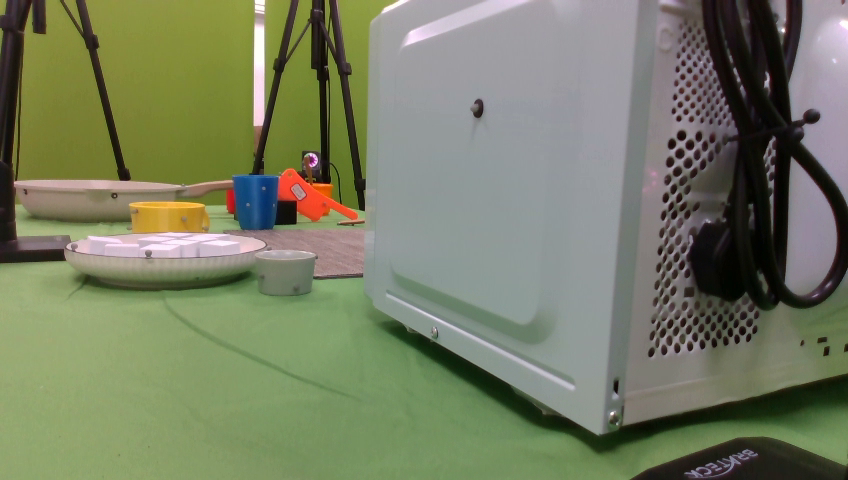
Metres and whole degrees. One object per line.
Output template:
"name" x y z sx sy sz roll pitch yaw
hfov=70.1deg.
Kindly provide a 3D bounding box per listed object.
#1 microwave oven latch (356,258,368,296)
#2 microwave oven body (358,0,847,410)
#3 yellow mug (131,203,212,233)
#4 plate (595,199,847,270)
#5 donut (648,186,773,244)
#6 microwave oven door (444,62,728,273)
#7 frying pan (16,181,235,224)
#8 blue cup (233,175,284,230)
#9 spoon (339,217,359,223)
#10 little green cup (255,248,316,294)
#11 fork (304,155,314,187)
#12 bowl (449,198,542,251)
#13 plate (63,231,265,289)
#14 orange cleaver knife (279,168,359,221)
"microwave oven latch" -0.019 0.031 0.528 0.079 0.029 0.030 -1 7 -24
"microwave oven body" 0.210 -0.051 0.471 0.444 0.260 0.324 -1 7 -28
"yellow mug" -0.356 -0.020 0.878 0.099 0.064 0.131 4 7 22
"plate" 0.250 -0.006 0.507 0.209 0.038 0.209 5 7 0
"donut" 0.242 -0.020 0.516 0.099 0.048 0.099 7 6 0
"microwave oven door" 0.189 -0.098 0.787 0.354 0.243 0.039 6 9 31
"frying pan" -0.553 -0.096 1.266 0.490 0.102 0.305 -10 13 -24
"blue cup" -0.314 -0.071 1.141 0.093 0.100 0.092 0 7 0
"spoon" -0.087 -0.041 1.268 0.193 0.021 0.041 4 25 13
"little green cup" -0.144 0.032 0.626 0.061 0.038 0.061 4 7 0
"fork" -0.268 -0.134 1.447 0.028 0.018 0.207 2 -36 -1
"bowl" 0.114 -0.025 0.988 0.151 0.077 0.151 2 8 0
"plate" -0.288 0.021 0.687 0.208 0.039 0.207 2 8 0
"orange cleaver knife" -0.236 -0.084 1.333 0.212 0.077 0.012 31 -10 -32
